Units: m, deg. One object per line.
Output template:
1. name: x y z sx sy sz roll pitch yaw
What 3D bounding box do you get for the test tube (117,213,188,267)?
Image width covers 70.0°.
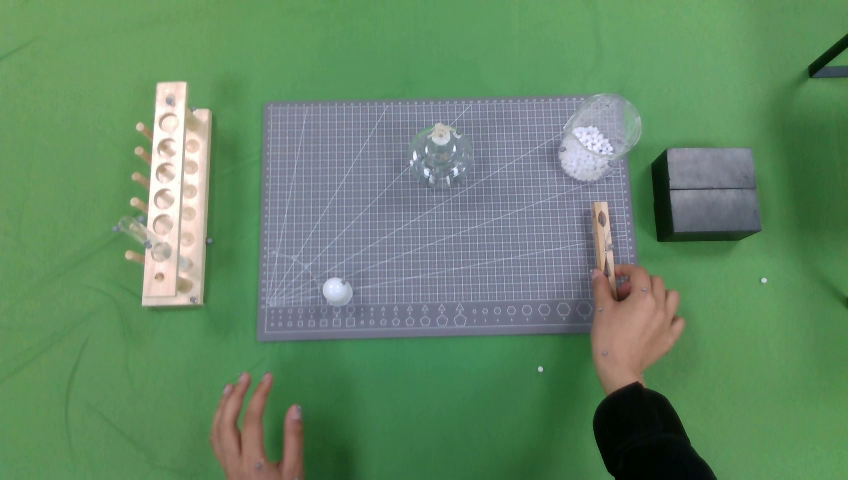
1. test tube: -0.278 0.004 0.631 0.017 0.151 0.017 0 73 -1

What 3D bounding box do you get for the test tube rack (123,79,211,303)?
1. test tube rack: -0.296 -0.053 0.692 0.067 0.085 0.241 -1 78 -1

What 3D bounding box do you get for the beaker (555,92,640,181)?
1. beaker: 0.193 -0.115 0.702 0.084 0.100 0.073 -3 77 0

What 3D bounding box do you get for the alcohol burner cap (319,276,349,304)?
1. alcohol burner cap: -0.105 0.055 0.692 0.034 0.048 0.033 0 78 -2

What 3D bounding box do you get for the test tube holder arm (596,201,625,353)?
1. test tube holder arm: 0.215 0.041 0.705 0.013 0.015 0.177 -8 77 6

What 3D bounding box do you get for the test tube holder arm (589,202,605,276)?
1. test tube holder arm: 0.205 -0.002 0.715 0.010 0.015 0.087 -6 77 7

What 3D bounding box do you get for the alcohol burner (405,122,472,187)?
1. alcohol burner: 0.016 -0.104 0.690 0.078 0.119 0.077 0 79 1
